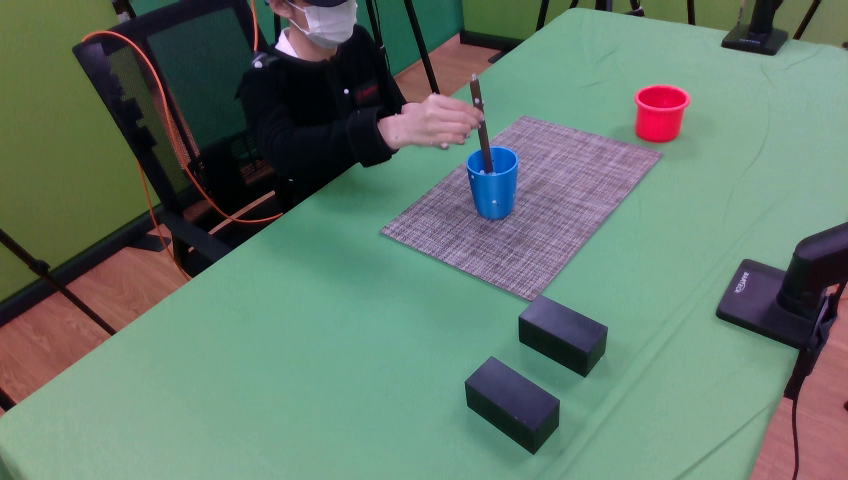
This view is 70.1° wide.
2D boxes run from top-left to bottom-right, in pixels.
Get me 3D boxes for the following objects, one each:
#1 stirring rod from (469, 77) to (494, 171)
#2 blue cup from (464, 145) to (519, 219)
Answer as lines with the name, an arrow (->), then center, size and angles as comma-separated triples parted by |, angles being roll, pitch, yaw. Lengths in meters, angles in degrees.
stirring rod -> 0.088, -0.168, 0.908 | 0.014, 0.177, 0.005 | -26, 47, -8
blue cup -> 0.116, -0.090, 0.997 | 0.092, 0.101, 0.092 | -5, 41, 5
